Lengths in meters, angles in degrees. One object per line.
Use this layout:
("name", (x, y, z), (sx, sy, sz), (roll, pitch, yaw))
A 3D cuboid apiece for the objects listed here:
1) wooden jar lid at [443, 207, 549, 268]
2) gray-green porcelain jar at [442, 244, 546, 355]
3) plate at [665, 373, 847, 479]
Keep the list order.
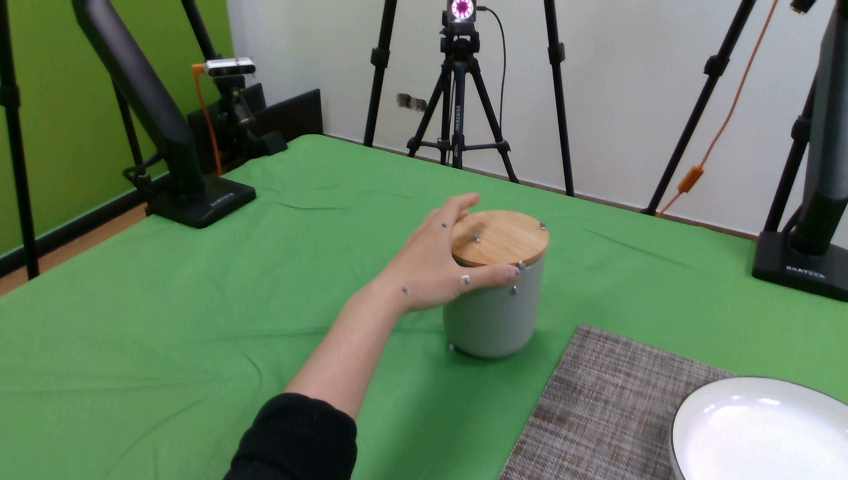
("wooden jar lid", (0.074, 0.000, 0.624), (0.108, 0.021, 0.107), (-2, 33, 2))
("gray-green porcelain jar", (0.072, 0.053, 0.660), (0.106, 0.127, 0.105), (1, 34, 0))
("plate", (0.310, 0.200, 0.513), (0.208, 0.039, 0.205), (1, 33, 0))
